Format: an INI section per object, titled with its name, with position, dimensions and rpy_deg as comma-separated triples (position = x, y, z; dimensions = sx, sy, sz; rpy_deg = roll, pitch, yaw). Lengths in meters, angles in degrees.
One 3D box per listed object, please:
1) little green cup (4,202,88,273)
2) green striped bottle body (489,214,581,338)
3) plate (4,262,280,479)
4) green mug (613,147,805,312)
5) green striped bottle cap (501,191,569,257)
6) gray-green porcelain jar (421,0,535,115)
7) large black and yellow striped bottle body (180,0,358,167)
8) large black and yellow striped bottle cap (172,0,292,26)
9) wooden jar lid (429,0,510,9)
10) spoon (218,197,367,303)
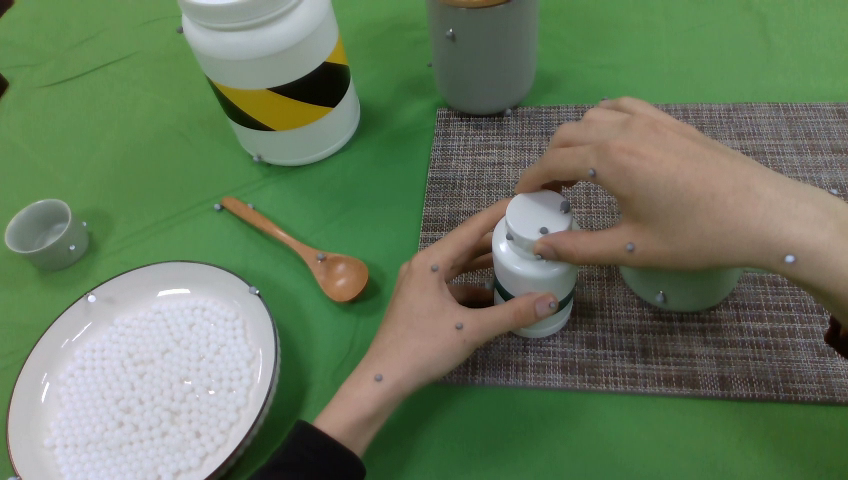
[little green cup]
position = -0.351, -0.001, 0.567
dimensions = 0.061, 0.039, 0.061
rpy_deg = -3, 55, 5
[green striped bottle body]
position = 0.080, 0.019, 0.444
dimensions = 0.063, 0.120, 0.062
rpy_deg = -4, 56, 6
[plate]
position = -0.211, 0.113, 0.473
dimensions = 0.209, 0.038, 0.207
rpy_deg = -3, 56, 5
[green mug]
position = 0.211, -0.003, 0.452
dimensions = 0.125, 0.106, 0.092
rpy_deg = 10, 57, 13
[green striped bottle cap]
position = 0.073, -0.011, 0.399
dimensions = 0.044, 0.020, 0.044
rpy_deg = -4, 49, 5
[gray-green porcelain jar]
position = 0.054, -0.196, 0.592
dimensions = 0.106, 0.128, 0.105
rpy_deg = -3, 52, 4
[large black and yellow striped bottle body]
position = -0.143, -0.173, 0.569
dimensions = 0.130, 0.186, 0.129
rpy_deg = -3, 56, 5
[large black and yellow striped bottle cap]
position = -0.154, -0.219, 0.500
dimensions = 0.115, 0.019, 0.114
rpy_deg = -3, 55, 4
[wooden jar lid]
position = 0.047, -0.235, 0.543
dimensions = 0.108, 0.021, 0.107
rpy_deg = -5, 54, 8
[spoon]
position = -0.124, 0.001, 0.547
dimensions = 0.192, 0.022, 0.041
rpy_deg = 30, 84, 24
